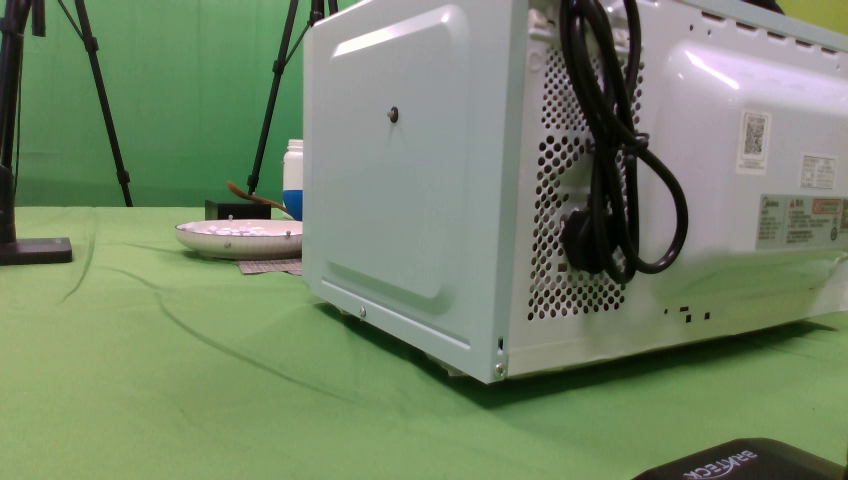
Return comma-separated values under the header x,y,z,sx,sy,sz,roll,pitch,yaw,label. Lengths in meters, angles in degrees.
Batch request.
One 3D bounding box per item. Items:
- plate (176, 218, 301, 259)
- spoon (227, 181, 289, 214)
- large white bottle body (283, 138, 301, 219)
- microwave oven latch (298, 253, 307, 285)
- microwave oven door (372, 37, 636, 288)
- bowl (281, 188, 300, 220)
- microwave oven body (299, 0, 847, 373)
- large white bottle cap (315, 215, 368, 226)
x,y,z,sx,sy,sz,roll,pitch,yaw,label
-0.248,-0.003,0.877,0.209,0.038,0.209,1,8,0,plate
-0.315,-0.074,1.235,0.195,0.021,0.041,24,-10,-37,spoon
-0.265,-0.143,1.423,0.131,0.184,0.130,2,7,0,large white bottle body
-0.081,0.027,0.582,0.079,0.029,0.030,-1,7,-32,microwave oven latch
0.110,-0.080,0.686,0.358,0.243,0.039,-2,9,-33,microwave oven door
-0.191,-0.053,1.129,0.151,0.077,0.151,3,8,0,bowl
0.151,-0.055,0.542,0.444,0.260,0.324,-2,7,-33,microwave oven body
-0.177,-0.041,1.309,0.115,0.018,0.115,2,6,0,large white bottle cap
